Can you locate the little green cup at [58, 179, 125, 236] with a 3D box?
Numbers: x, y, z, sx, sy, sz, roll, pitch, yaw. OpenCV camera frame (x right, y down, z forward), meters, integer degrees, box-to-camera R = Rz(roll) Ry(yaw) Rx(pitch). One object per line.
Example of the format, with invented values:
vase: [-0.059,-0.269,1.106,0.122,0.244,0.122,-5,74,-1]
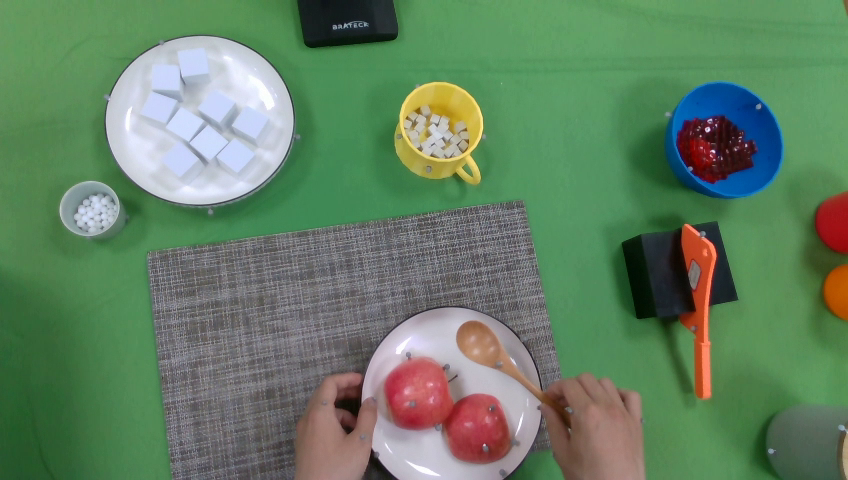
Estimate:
little green cup: [-0.363,-0.033,0.667,0.062,0.038,0.061,2,80,-10]

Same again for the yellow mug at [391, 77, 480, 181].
yellow mug: [0.022,-0.125,0.732,0.100,0.064,0.130,-38,88,-14]

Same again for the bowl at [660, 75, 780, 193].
bowl: [0.363,-0.125,0.779,0.152,0.077,0.151,2,80,-8]

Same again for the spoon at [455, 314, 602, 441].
spoon: [0.110,0.148,0.637,0.193,0.022,0.041,40,84,5]

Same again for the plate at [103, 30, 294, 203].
plate: [-0.256,-0.141,0.706,0.208,0.039,0.206,2,79,-8]

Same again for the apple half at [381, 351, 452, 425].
apple half: [-0.008,0.165,0.669,0.075,0.053,0.080,-12,82,-8]

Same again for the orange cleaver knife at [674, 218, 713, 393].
orange cleaver knife: [0.324,0.080,0.733,0.012,0.076,0.212,-8,104,-6]

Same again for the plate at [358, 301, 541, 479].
plate: [0.028,0.174,0.689,0.209,0.038,0.208,2,80,-9]

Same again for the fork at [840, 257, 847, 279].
fork: [0.570,0.089,0.736,0.028,0.019,0.205,7,35,-8]

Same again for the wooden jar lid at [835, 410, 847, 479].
wooden jar lid: [0.482,0.223,0.646,0.108,0.021,0.108,1,82,-9]

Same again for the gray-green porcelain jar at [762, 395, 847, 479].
gray-green porcelain jar: [0.474,0.236,0.706,0.106,0.126,0.105,2,79,-8]

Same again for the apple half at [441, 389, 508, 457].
apple half: [0.059,0.208,0.681,0.081,0.033,0.081,2,76,-8]
